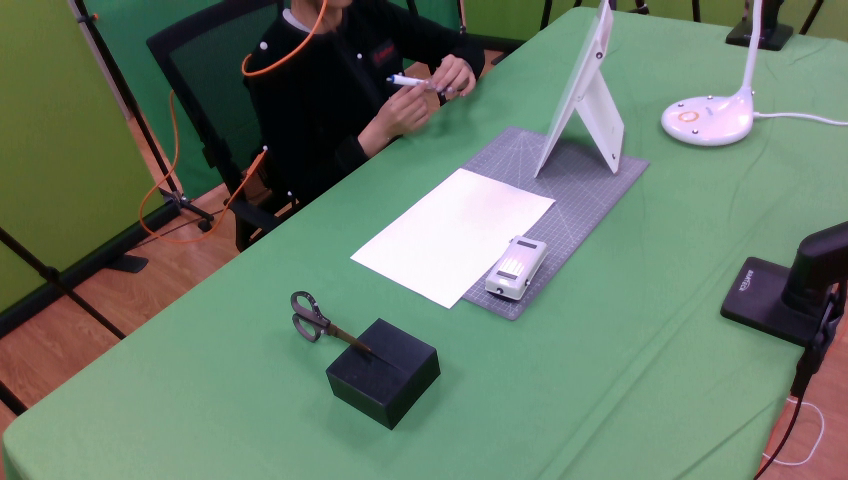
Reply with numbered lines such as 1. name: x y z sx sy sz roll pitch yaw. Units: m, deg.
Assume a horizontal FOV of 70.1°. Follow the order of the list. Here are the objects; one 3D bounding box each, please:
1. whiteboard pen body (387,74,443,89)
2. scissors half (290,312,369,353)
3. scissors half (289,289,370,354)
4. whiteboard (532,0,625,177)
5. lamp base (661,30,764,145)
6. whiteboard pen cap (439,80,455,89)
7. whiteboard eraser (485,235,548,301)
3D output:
1. whiteboard pen body: -0.008 -0.309 1.189 0.142 0.017 0.017 0 33 -30
2. scissors half: -0.128 0.129 0.816 0.013 0.040 0.173 -23 21 -40
3. scissors half: -0.128 0.110 0.808 0.013 0.040 0.173 -17 35 -43
4. whiteboard: 0.320 -0.259 1.050 0.144 0.306 0.217 21 45 5
5. lamp base: 0.535 -0.287 1.096 0.179 0.181 0.159 -10 40 -4
6. whiteboard pen cap: 0.045 -0.312 1.213 0.033 0.018 0.018 -11 35 -36
7. whiteboard eraser: 0.137 0.042 0.887 0.055 0.042 0.113 15 46 27
